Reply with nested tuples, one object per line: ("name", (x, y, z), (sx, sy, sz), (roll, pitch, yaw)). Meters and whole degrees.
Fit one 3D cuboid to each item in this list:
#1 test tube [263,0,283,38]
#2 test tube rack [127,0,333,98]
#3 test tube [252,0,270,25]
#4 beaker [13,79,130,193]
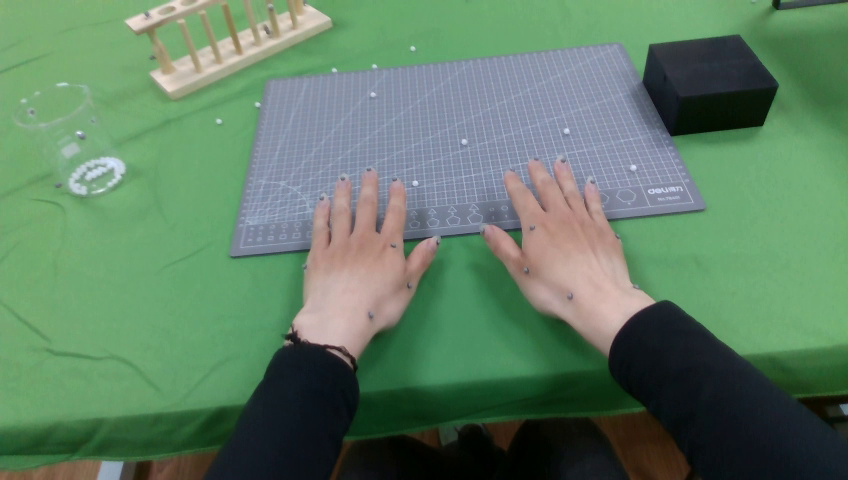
("test tube", (-0.202, -0.328, 0.766), (0.017, 0.152, 0.017), (-2, 47, 3))
("test tube rack", (-0.245, -0.286, 0.793), (0.242, 0.086, 0.066), (-34, 53, -22))
("test tube", (-0.229, -0.351, 0.783), (0.017, 0.152, 0.017), (-5, 45, 6))
("beaker", (-0.362, -0.107, 0.637), (0.073, 0.101, 0.083), (15, 51, 19))
